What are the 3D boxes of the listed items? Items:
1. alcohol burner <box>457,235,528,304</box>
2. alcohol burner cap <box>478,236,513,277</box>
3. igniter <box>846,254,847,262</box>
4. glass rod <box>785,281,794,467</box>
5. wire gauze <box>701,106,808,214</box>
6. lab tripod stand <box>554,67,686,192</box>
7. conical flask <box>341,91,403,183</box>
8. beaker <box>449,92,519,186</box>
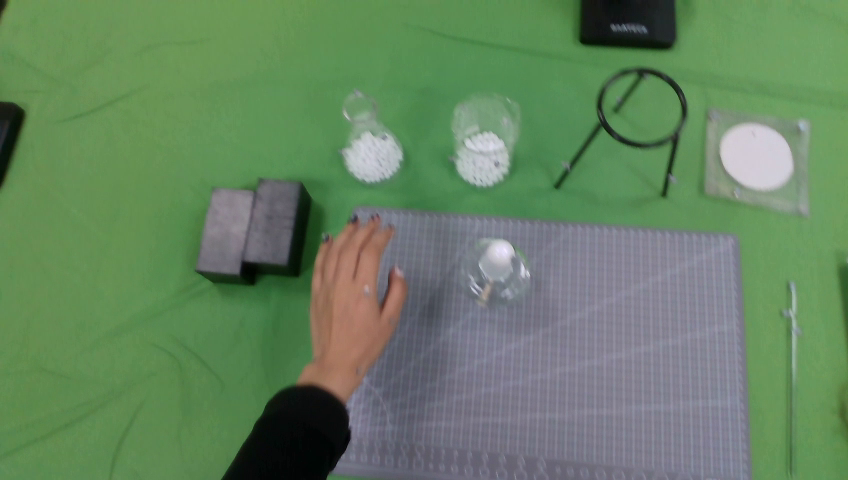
[{"bbox_3d":[0.074,0.027,0.642,0.078,0.120,0.077,0,72,1],"label":"alcohol burner"},{"bbox_3d":[0.074,0.014,0.608,0.034,0.048,0.033,3,67,-6],"label":"alcohol burner cap"},{"bbox_3d":[0.475,0.145,0.635,0.057,0.025,0.275,8,73,-6],"label":"igniter"},{"bbox_3d":[0.392,0.140,0.650,0.008,0.008,0.198,9,73,5],"label":"glass rod"},{"bbox_3d":[0.396,-0.100,0.725,0.125,0.011,0.121,12,74,4],"label":"wire gauze"},{"bbox_3d":[0.220,-0.114,0.672,0.148,0.132,0.147,-1,74,3],"label":"lab tripod stand"},{"bbox_3d":[-0.066,-0.121,0.693,0.075,0.122,0.075,-1,73,3],"label":"conical flask"},{"bbox_3d":[0.070,-0.113,0.697,0.084,0.101,0.073,-35,74,-8],"label":"beaker"}]
